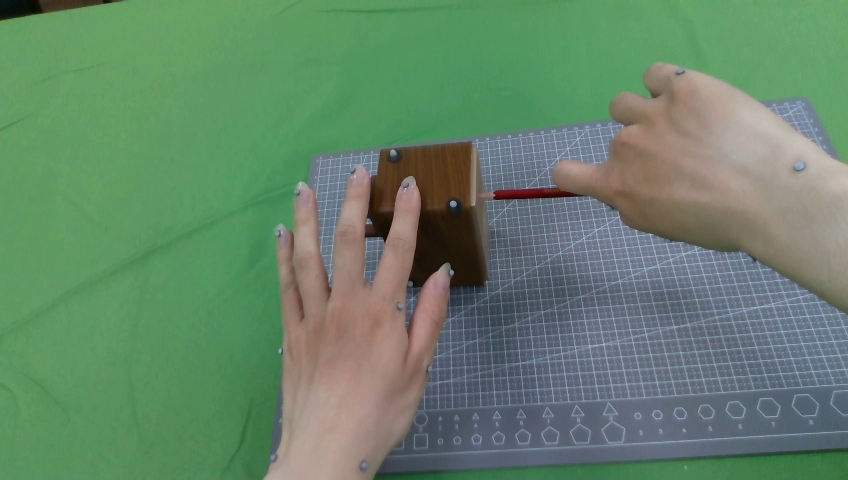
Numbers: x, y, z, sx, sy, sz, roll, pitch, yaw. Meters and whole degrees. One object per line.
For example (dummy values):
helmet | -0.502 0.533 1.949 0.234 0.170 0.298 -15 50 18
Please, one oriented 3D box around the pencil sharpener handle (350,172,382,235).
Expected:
pencil sharpener handle | -0.046 -0.022 0.450 0.030 0.068 0.035 -3 60 10

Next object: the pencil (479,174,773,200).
pencil | 0.127 -0.034 0.404 0.194 0.012 0.012 -2 56 11

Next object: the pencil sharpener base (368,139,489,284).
pencil sharpener base | 0.006 -0.017 0.452 0.076 0.108 0.061 -3 56 10
